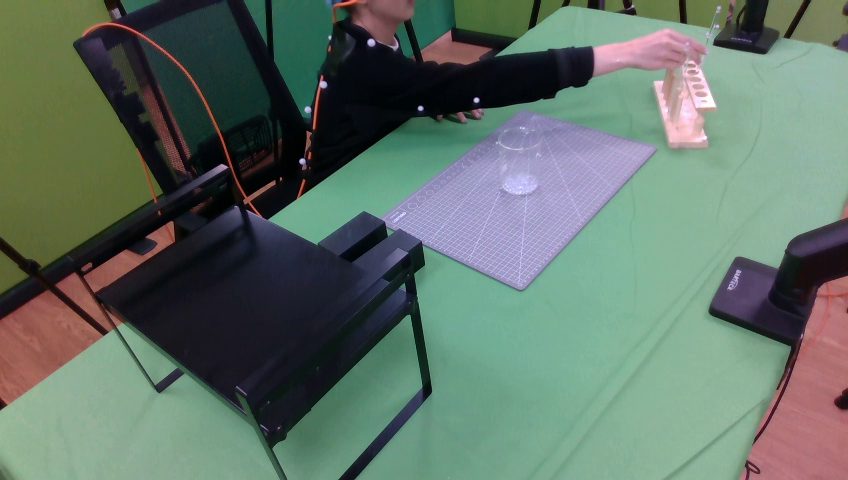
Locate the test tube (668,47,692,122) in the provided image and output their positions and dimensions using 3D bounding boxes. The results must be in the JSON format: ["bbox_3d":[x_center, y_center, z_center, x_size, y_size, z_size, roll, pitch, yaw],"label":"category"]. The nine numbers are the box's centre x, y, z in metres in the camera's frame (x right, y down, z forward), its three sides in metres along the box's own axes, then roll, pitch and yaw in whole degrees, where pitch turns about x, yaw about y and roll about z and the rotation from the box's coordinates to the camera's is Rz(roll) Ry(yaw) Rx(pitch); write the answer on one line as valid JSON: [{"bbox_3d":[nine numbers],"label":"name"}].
[{"bbox_3d":[0.472,-0.286,1.117,0.017,0.151,0.017,-4,44,4],"label":"test tube"}]

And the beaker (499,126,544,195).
[{"bbox_3d":[0.170,-0.136,1.045,0.073,0.101,0.084,12,44,21],"label":"beaker"}]

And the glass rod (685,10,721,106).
[{"bbox_3d":[0.523,-0.336,1.136,0.008,0.200,0.008,-1,47,1],"label":"glass rod"}]

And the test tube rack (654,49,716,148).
[{"bbox_3d":[0.502,-0.281,1.176,0.066,0.085,0.241,2,41,11],"label":"test tube rack"}]
